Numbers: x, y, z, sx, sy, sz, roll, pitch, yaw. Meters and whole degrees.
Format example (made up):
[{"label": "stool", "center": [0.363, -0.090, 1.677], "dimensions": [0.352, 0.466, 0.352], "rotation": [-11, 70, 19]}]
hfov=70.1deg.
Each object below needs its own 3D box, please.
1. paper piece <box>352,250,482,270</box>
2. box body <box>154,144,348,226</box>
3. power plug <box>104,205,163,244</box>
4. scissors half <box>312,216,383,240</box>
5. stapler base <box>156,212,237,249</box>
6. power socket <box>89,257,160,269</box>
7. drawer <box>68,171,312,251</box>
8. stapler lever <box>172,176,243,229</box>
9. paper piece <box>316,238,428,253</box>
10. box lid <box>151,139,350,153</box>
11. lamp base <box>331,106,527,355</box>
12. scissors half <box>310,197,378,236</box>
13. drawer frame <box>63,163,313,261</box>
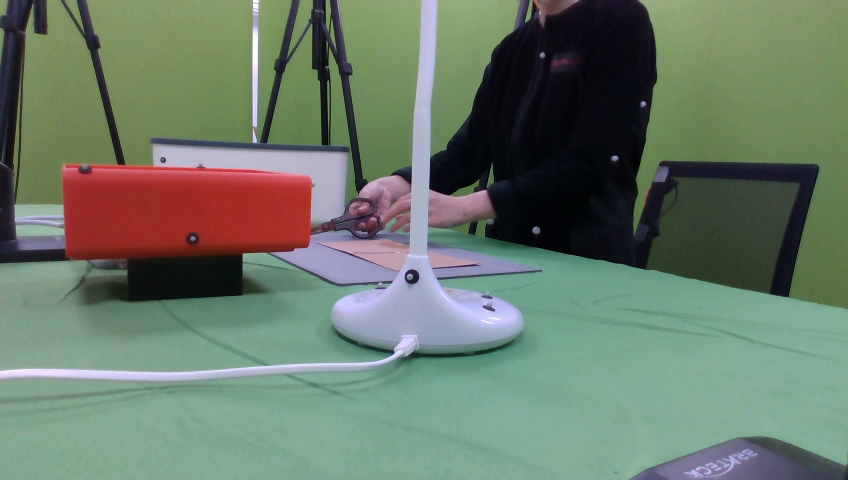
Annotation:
[{"label": "paper piece", "center": [-0.013, 0.026, 0.842], "dimensions": [0.139, 0.008, 0.135], "rotation": [-1, 11, -32]}, {"label": "box body", "center": [-0.357, -0.119, 1.264], "dimensions": [0.365, 0.160, 0.253], "rotation": [0, 7, -18]}, {"label": "power plug", "center": [-0.390, -0.021, 0.815], "dimensions": [0.073, 0.052, 0.035], "rotation": [-1, 7, -28]}, {"label": "scissors half", "center": [-0.154, -0.015, 1.034], "dimensions": [0.176, 0.040, 0.012], "rotation": [-7, -8, -20]}, {"label": "stapler base", "center": [-0.227, -0.017, 0.624], "dimensions": [0.041, 0.024, 0.130], "rotation": [18, 10, -2]}, {"label": "power socket", "center": [-0.409, 0.004, 0.793], "dimensions": [0.072, 0.032, 0.225], "rotation": [-2, 8, -38]}, {"label": "drawer", "center": [-0.247, -0.036, 0.629], "dimensions": [0.213, 0.073, 0.193], "rotation": [-3, 9, -30]}, {"label": "stapler lever", "center": [-0.217, -0.041, 0.618], "dimensions": [0.027, 0.040, 0.118], "rotation": [18, 11, -2]}, {"label": "paper piece", "center": [-0.083, 0.008, 0.952], "dimensions": [0.136, 0.004, 0.134], "rotation": [-2, 9, -31]}, {"label": "box lid", "center": [-0.352, -0.191, 1.255], "dimensions": [0.373, 0.015, 0.262], "rotation": [0, 8, -18]}, {"label": "lamp base", "center": [0.006, -0.012, 0.478], "dimensions": [0.161, 0.180, 0.179], "rotation": [2, 10, 2]}, {"label": "scissors half", "center": [-0.159, -0.034, 1.036], "dimensions": [0.176, 0.040, 0.013], "rotation": [-25, -6, -23]}, {"label": "drawer frame", "center": [-0.248, -0.036, 0.626], "dimensions": [0.215, 0.082, 0.200], "rotation": [-3, 9, -31]}]
